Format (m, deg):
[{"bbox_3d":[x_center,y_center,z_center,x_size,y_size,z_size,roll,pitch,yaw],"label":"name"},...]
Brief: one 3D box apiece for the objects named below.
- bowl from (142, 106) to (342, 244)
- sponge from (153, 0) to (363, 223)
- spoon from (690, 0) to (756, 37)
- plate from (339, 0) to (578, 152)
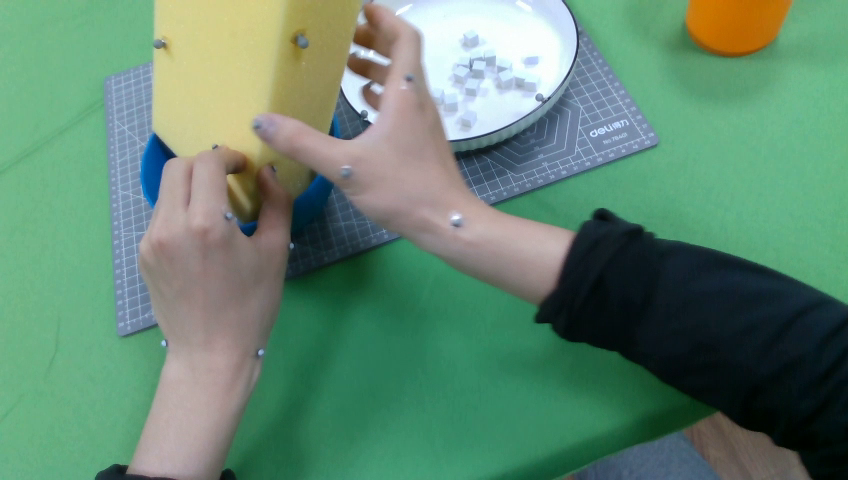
[{"bbox_3d":[-0.129,-0.052,0.475,0.151,0.077,0.150,-5,60,8],"label":"bowl"},{"bbox_3d":[-0.114,-0.125,0.394,0.117,0.208,0.061,42,44,18],"label":"sponge"},{"bbox_3d":[0.291,-0.237,0.469,0.022,0.194,0.041,0,53,-43],"label":"spoon"},{"bbox_3d":[0.027,-0.157,0.531,0.209,0.038,0.207,-4,61,8],"label":"plate"}]
